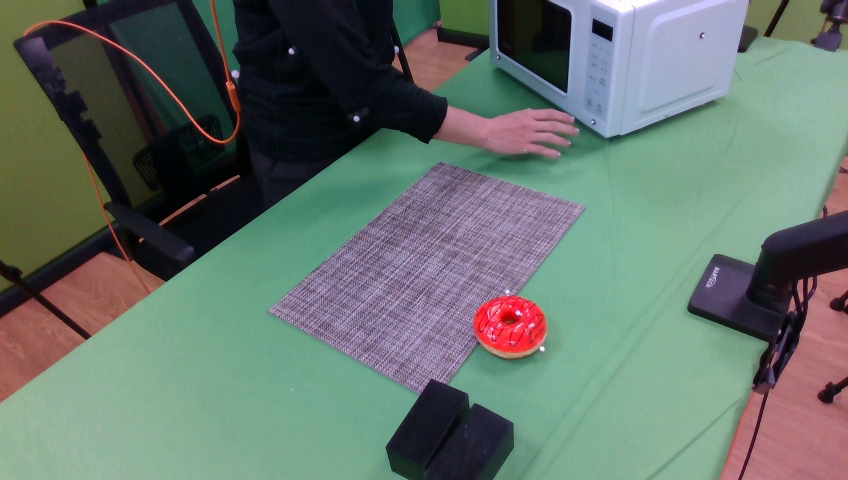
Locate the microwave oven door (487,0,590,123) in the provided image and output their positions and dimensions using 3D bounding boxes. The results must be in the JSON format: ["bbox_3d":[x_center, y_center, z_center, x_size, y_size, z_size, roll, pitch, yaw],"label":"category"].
[{"bbox_3d":[0.232,-0.420,1.231,0.039,0.245,0.352,-22,43,-16],"label":"microwave oven door"}]

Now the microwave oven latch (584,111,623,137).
[{"bbox_3d":[0.337,-0.222,1.142,0.030,0.029,0.078,-21,42,-14],"label":"microwave oven latch"}]

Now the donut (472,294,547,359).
[{"bbox_3d":[0.114,0.114,0.803,0.099,0.048,0.098,0,40,1],"label":"donut"}]

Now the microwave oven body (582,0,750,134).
[{"bbox_3d":[0.382,-0.445,1.246,0.327,0.261,0.437,-22,42,-16],"label":"microwave oven body"}]
